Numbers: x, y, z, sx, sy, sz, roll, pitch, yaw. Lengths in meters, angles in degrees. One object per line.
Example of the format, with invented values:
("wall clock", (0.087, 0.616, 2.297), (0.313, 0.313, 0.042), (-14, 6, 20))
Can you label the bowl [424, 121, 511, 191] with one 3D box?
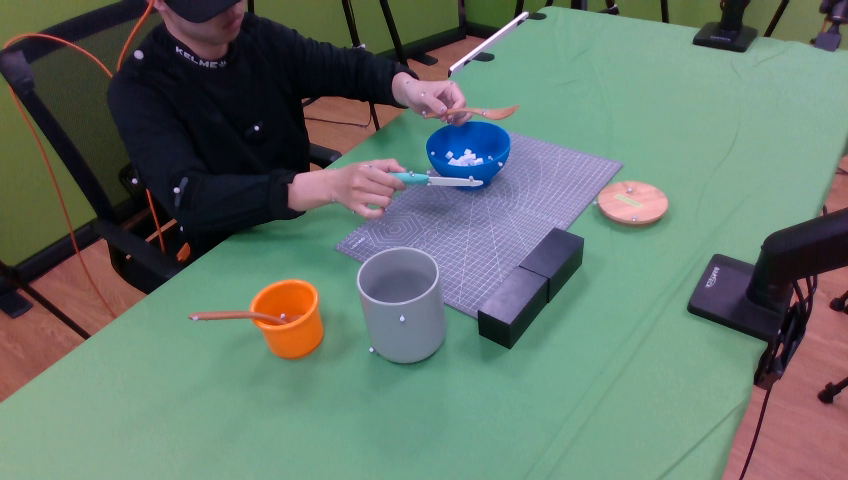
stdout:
("bowl", (0.080, -0.140, 1.074), (0.151, 0.077, 0.150), (-4, 40, 4))

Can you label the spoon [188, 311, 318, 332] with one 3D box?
("spoon", (-0.216, 0.102, 0.783), (0.041, 0.195, 0.021), (25, 95, 39))

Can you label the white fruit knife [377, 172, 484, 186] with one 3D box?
("white fruit knife", (0.004, -0.090, 0.912), (0.206, 0.028, 0.016), (6, 66, 37))

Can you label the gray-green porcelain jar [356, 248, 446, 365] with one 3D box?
("gray-green porcelain jar", (-0.027, 0.091, 0.786), (0.106, 0.127, 0.105), (-4, 40, 4))

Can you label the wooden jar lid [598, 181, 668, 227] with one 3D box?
("wooden jar lid", (0.340, -0.058, 0.988), (0.108, 0.021, 0.108), (-5, 41, 5))

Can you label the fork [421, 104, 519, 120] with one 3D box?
("fork", (0.069, -0.205, 0.978), (0.205, 0.019, 0.028), (10, 55, 43))
